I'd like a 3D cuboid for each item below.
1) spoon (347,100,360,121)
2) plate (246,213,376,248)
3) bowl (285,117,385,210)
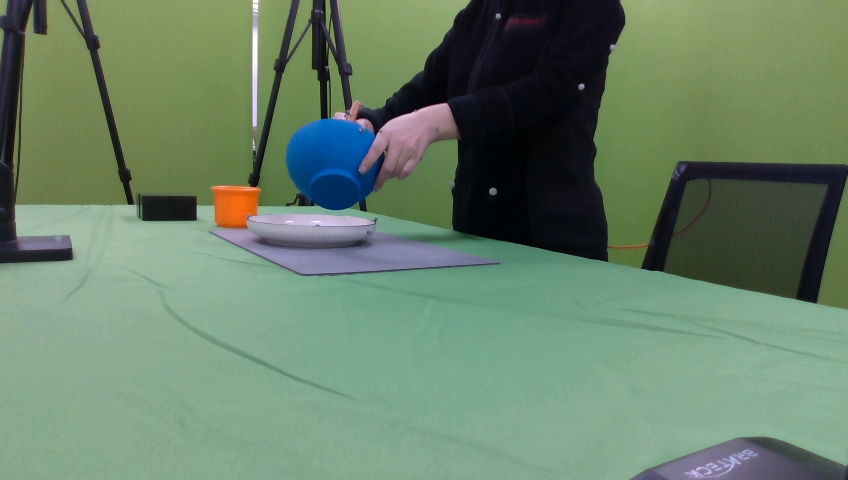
[{"bbox_3d":[-0.134,-0.152,0.979,0.041,0.193,0.021,13,-31,-2],"label":"spoon"},{"bbox_3d":[-0.185,-0.017,0.994,0.209,0.038,0.209,3,8,0],"label":"plate"},{"bbox_3d":[-0.132,-0.097,0.893,0.152,0.151,0.076,1,48,-7],"label":"bowl"}]
